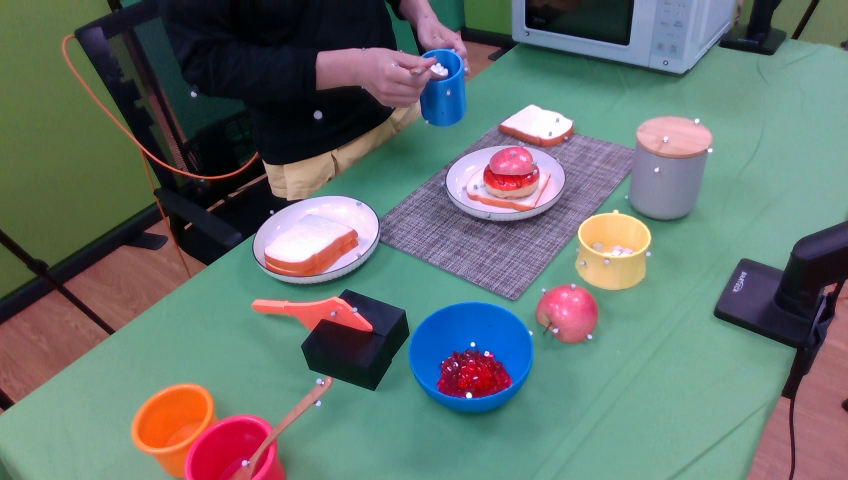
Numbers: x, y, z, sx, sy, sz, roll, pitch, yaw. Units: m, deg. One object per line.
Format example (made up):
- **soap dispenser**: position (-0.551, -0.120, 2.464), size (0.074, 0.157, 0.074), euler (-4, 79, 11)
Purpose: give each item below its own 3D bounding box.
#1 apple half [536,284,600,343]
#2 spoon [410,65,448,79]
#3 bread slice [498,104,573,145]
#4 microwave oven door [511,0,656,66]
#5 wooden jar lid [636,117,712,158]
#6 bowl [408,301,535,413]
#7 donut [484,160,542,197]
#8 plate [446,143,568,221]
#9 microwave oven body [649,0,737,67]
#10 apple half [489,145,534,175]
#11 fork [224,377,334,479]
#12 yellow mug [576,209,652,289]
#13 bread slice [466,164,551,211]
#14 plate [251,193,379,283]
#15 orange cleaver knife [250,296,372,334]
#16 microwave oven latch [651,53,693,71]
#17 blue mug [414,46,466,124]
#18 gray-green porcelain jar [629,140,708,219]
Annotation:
- **apple half**: position (0.196, 0.091, 0.815), size (0.075, 0.053, 0.080), euler (-22, 42, -20)
- **spoon**: position (0.003, -0.268, 0.954), size (0.041, 0.021, 0.194), euler (6, 13, 12)
- **bread slice**: position (0.231, -0.231, 1.205), size (0.105, 0.019, 0.130), euler (-36, 47, -29)
- **microwave oven door**: position (0.351, -0.540, 1.349), size (0.353, 0.245, 0.039), euler (24, 50, 31)
- **wooden jar lid**: position (0.377, -0.151, 0.917), size (0.108, 0.021, 0.108), euler (-2, 41, 3)
- **bowl**: position (0.060, 0.156, 0.739), size (0.151, 0.077, 0.150), euler (-4, 40, 4)
- **donut**: position (0.149, -0.110, 1.016), size (0.099, 0.048, 0.098), euler (-4, 40, 4)
- **plate**: position (0.142, -0.096, 1.045), size (0.207, 0.039, 0.206), euler (-4, 40, 4)
- **microwave oven body**: position (0.475, -0.602, 1.411), size (0.438, 0.261, 0.327), euler (23, 50, 32)
- **apple half**: position (0.145, -0.138, 0.995), size (0.081, 0.033, 0.081), euler (-2, 34, 2)
- **fork**: position (-0.163, 0.216, 0.646), size (0.207, 0.019, 0.028), euler (-49, 42, 16)
- **yellow mug**: position (0.279, 0.004, 0.893), size (0.099, 0.064, 0.130), euler (5, 42, 14)
- **bread slice**: position (0.141, -0.092, 1.042), size (0.133, 0.018, 0.107), euler (10, 43, 19)
- **plate**: position (-0.174, -0.001, 0.984), size (0.209, 0.038, 0.208), euler (-4, 41, 4)
- **orange cleaver knife**: position (-0.158, 0.103, 0.828), size (0.210, 0.078, 0.012), euler (-4, 43, 39)
- **microwave oven latch**: position (0.532, -0.386, 1.301), size (0.078, 0.029, 0.030), euler (27, 52, 34)
- **blue mug**: position (0.035, -0.281, 1.063), size (0.082, 0.106, 0.116), euler (12, 60, 13)
- **gray-green porcelain jar**: position (0.383, -0.105, 0.958), size (0.106, 0.127, 0.105), euler (-4, 41, 4)
